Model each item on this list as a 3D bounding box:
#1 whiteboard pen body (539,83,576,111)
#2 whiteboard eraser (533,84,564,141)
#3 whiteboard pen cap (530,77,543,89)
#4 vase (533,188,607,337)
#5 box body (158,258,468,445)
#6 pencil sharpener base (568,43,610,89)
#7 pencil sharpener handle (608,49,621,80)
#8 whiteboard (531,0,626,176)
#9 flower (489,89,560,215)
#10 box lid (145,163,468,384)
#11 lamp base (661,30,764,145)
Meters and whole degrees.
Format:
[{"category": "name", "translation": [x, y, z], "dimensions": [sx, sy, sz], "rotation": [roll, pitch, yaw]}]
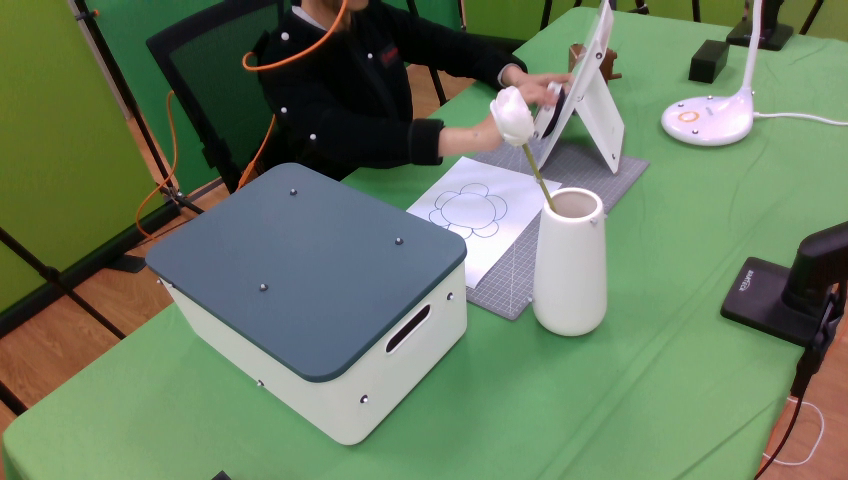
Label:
[{"category": "whiteboard pen body", "translation": [0.280, -0.310, 1.290], "dimensions": [0.017, 0.017, 0.139], "rotation": [-24, 46, -17]}, {"category": "whiteboard eraser", "translation": [0.216, -0.221, 1.050], "dimensions": [0.042, 0.055, 0.112], "rotation": [26, 44, -2]}, {"category": "whiteboard pen cap", "translation": [0.248, -0.344, 1.328], "dimensions": [0.018, 0.018, 0.033], "rotation": [-24, 46, -17]}, {"category": "vase", "translation": [0.187, 0.033, 0.771], "dimensions": [0.098, 0.201, 0.097], "rotation": [-6, 41, 6]}, {"category": "box body", "translation": [-0.147, 0.072, 0.816], "dimensions": [0.361, 0.161, 0.255], "rotation": [24, 50, 33]}, {"category": "pencil sharpener base", "translation": [0.345, -0.352, 1.263], "dimensions": [0.077, 0.107, 0.061], "rotation": [-8, 40, 1]}, {"category": "pencil sharpener handle", "translation": [0.394, -0.367, 1.253], "dimensions": [0.030, 0.068, 0.036], "rotation": [-8, 32, 1]}, {"category": "whiteboard", "translation": [0.320, -0.258, 1.050], "dimensions": [0.144, 0.306, 0.217], "rotation": [22, 45, 5]}, {"category": "flower", "translation": [0.159, -0.027, 0.720], "dimensions": [0.038, 0.364, 0.044], "rotation": [-14, 44, 23]}, {"category": "box lid", "translation": [-0.157, 0.014, 0.769], "dimensions": [0.368, 0.015, 0.264], "rotation": [25, 51, 33]}, {"category": "lamp base", "translation": [0.535, -0.287, 1.096], "dimensions": [0.179, 0.181, 0.159], "rotation": [-10, 40, -4]}]
